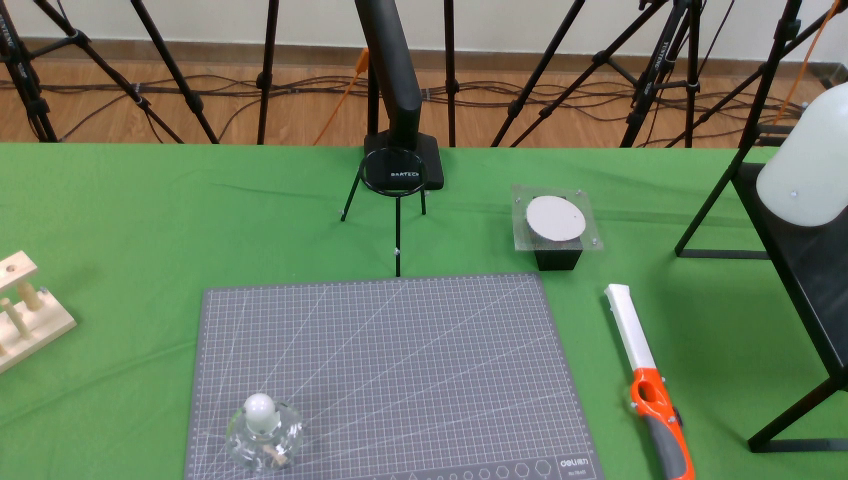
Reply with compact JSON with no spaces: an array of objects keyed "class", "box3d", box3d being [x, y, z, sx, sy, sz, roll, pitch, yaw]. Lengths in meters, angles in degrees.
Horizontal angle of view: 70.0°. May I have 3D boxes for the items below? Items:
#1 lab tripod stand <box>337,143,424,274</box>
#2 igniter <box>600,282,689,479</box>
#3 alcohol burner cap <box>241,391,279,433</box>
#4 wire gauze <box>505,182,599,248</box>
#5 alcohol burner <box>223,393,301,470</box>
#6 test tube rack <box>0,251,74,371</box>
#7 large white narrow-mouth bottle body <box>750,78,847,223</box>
[{"class":"lab tripod stand","box3d":[-0.049,-0.049,0.819,0.149,0.132,0.147,5,51,-6]},{"class":"igniter","box3d":[0.271,0.169,0.756,0.057,0.025,0.273,7,49,-16]},{"class":"alcohol burner cap","box3d":[-0.161,0.165,0.587,0.034,0.048,0.033,2,56,-3]},{"class":"wire gauze","box3d":[0.178,-0.035,0.859,0.121,0.011,0.124,4,50,-5]},{"class":"alcohol burner","box3d":[-0.165,0.187,0.615,0.078,0.120,0.077,6,49,-6]},{"class":"test tube rack","box3d":[-0.517,0.121,0.639,0.066,0.086,0.242,37,55,21]},{"class":"large white narrow-mouth bottle body","box3d":[0.456,-0.114,0.672,0.102,0.196,0.101,4,50,-5]}]
